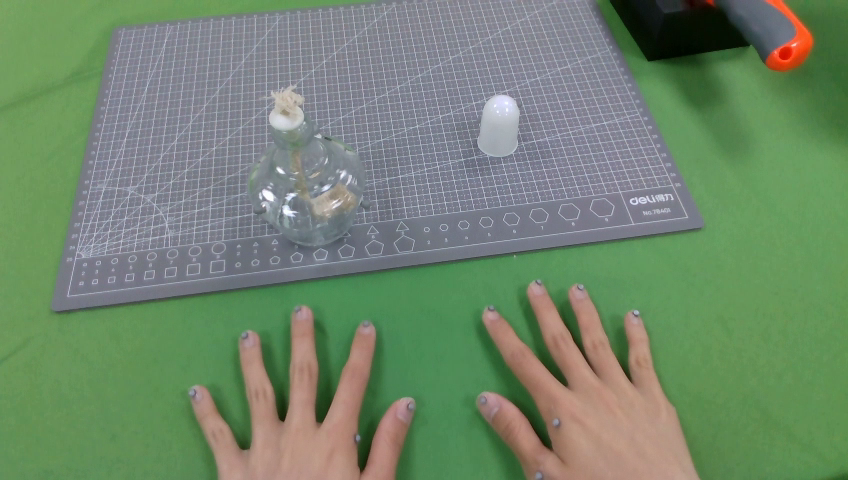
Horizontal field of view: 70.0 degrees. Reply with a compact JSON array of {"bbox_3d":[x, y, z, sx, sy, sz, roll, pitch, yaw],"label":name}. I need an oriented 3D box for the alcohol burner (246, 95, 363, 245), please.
[{"bbox_3d":[-0.080,-0.049,0.391,0.078,0.120,0.077,0,58,1],"label":"alcohol burner"}]

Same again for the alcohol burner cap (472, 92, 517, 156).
[{"bbox_3d":[0.055,-0.091,0.461,0.034,0.048,0.033,1,55,-1],"label":"alcohol burner cap"}]

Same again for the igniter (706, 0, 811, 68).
[{"bbox_3d":[0.240,-0.237,0.512,0.057,0.025,0.273,-12,55,-4],"label":"igniter"}]
